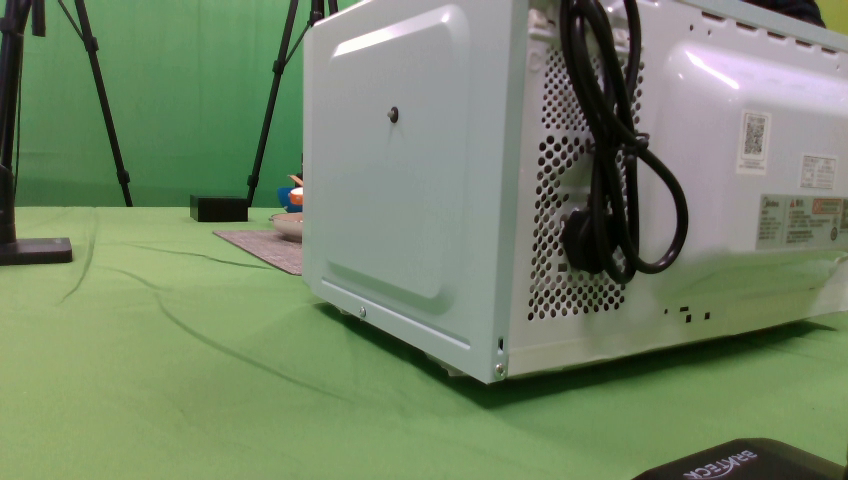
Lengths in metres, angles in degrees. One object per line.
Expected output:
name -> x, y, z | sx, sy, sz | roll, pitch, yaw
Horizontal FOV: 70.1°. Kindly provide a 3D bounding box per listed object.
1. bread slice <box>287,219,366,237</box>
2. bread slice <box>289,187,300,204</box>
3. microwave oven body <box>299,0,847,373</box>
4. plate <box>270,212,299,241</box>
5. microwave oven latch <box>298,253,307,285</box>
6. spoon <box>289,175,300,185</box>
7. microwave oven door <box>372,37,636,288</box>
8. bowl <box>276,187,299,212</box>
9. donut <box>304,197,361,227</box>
bread slice -> -0.170, -0.022, 1.056 | 0.134, 0.018, 0.107 | 2, 7, -6
bread slice -> -0.167, -0.080, 1.052 | 0.131, 0.019, 0.105 | 0, 13, 0
microwave oven body -> 0.152, -0.055, 0.542 | 0.444, 0.260, 0.324 | -2, 7, -33
plate -> -0.162, -0.022, 1.058 | 0.208, 0.039, 0.207 | 2, 7, 0
microwave oven latch -> -0.081, 0.027, 0.583 | 0.079, 0.029, 0.030 | -2, 7, -33
spoon -> -0.261, -0.111, 1.343 | 0.042, 0.021, 0.192 | -7, 32, -31
microwave oven door -> 0.110, -0.080, 0.686 | 0.358, 0.243, 0.039 | -2, 9, -33
bowl -> -0.241, -0.073, 1.302 | 0.151, 0.077, 0.151 | 2, 7, 0
donut -> -0.160, -0.050, 1.056 | 0.099, 0.048, 0.099 | 4, 8, 0
